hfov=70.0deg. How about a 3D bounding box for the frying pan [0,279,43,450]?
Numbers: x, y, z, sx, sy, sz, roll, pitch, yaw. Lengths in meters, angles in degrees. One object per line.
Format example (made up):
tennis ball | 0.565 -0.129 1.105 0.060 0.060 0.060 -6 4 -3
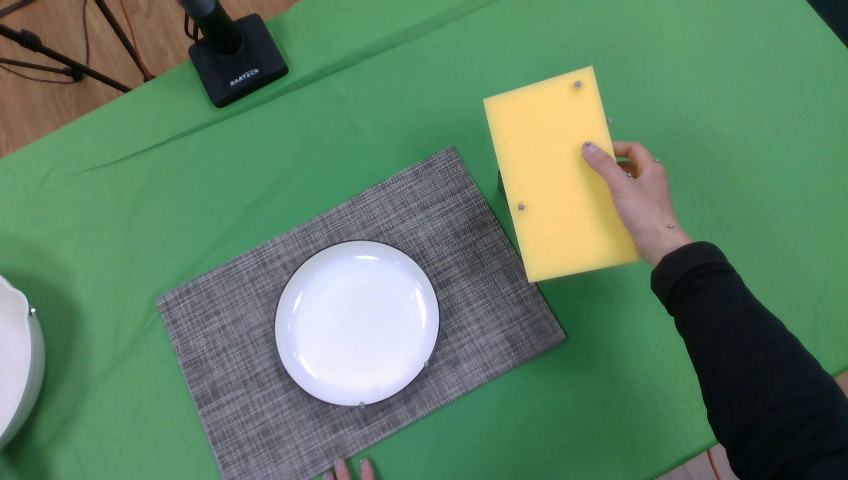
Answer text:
frying pan | -0.567 0.248 0.734 0.307 0.103 0.483 -36 66 -3

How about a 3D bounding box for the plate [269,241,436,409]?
plate | -0.087 0.105 0.756 0.207 0.039 0.206 -1 74 5

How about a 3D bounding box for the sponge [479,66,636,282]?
sponge | 0.146 -0.068 0.662 0.118 0.061 0.206 -15 90 16
